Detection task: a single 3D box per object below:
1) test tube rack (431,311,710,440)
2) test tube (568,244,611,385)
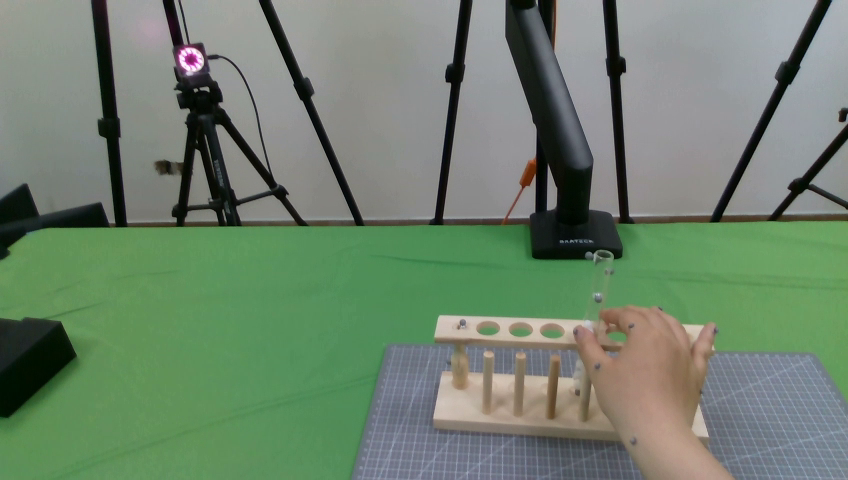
[{"bbox_3d":[0.129,0.122,0.558,0.242,0.086,0.066,1,31,9],"label":"test tube rack"},{"bbox_3d":[0.147,0.072,0.544,0.017,0.151,0.017,1,30,0],"label":"test tube"}]
